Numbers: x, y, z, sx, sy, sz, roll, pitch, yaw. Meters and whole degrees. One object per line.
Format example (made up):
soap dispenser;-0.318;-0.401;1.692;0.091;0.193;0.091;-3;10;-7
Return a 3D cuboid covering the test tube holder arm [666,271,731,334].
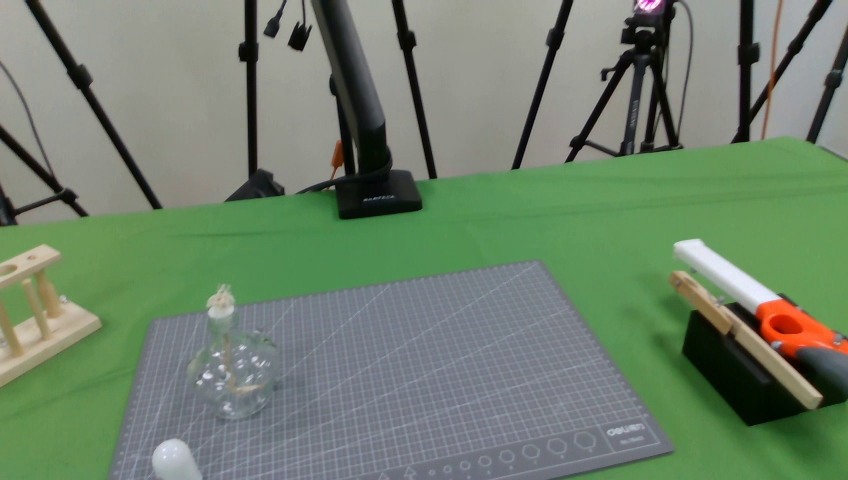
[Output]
test tube holder arm;0.258;0.057;0.567;0.010;0.015;0.087;-10;31;-14

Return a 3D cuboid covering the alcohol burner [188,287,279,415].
alcohol burner;-0.168;0.092;0.528;0.078;0.120;0.077;-1;29;1

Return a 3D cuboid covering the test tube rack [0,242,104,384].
test tube rack;-0.442;0.100;0.564;0.066;0.086;0.242;18;36;29

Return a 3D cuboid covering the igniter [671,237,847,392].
igniter;0.315;0.065;0.542;0.057;0.025;0.273;-9;28;-11

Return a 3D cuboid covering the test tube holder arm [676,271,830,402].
test tube holder arm;0.277;0.077;0.531;0.013;0.015;0.176;-11;31;-16

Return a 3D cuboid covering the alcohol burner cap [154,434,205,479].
alcohol burner cap;-0.192;0.172;0.468;0.034;0.048;0.033;-1;31;1

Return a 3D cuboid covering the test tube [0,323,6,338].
test tube;-0.430;0.035;0.575;0.017;0.151;0.017;-1;33;1
